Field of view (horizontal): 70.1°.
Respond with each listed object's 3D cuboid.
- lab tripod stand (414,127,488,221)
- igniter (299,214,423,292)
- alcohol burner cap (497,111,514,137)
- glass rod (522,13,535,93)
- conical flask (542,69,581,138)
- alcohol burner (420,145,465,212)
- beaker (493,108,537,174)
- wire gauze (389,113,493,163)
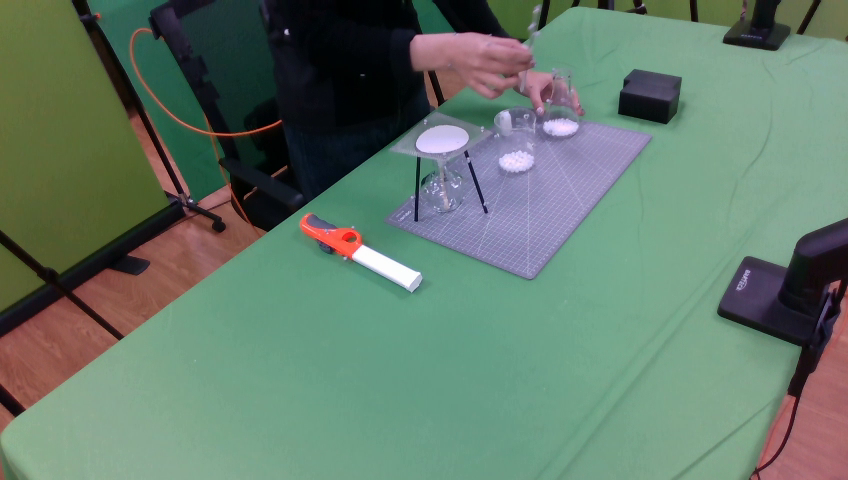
[{"bbox_3d":[0.035,-0.114,1.021,0.148,0.132,0.147,-7,39,6],"label":"lab tripod stand"},{"bbox_3d":[-0.112,0.016,0.983,0.274,0.025,0.057,25,62,35],"label":"igniter"},{"bbox_3d":[0.163,-0.234,1.211,0.034,0.048,0.033,-6,38,6],"label":"alcohol burner cap"},{"bbox_3d":[0.163,-0.288,0.951,0.008,0.200,0.008,-2,70,5],"label":"glass rod"},{"bbox_3d":[0.265,-0.264,1.163,0.075,0.122,0.075,-5,40,5],"label":"conical flask"},{"bbox_3d":[0.030,-0.108,1.030,0.078,0.119,0.077,-5,38,4],"label":"alcohol burner"},{"bbox_3d":[0.170,-0.177,1.096,0.074,0.101,0.083,-34,46,-26],"label":"beaker"},{"bbox_3d":[0.026,-0.164,0.977,0.120,0.011,0.125,24,49,35],"label":"wire gauze"}]
